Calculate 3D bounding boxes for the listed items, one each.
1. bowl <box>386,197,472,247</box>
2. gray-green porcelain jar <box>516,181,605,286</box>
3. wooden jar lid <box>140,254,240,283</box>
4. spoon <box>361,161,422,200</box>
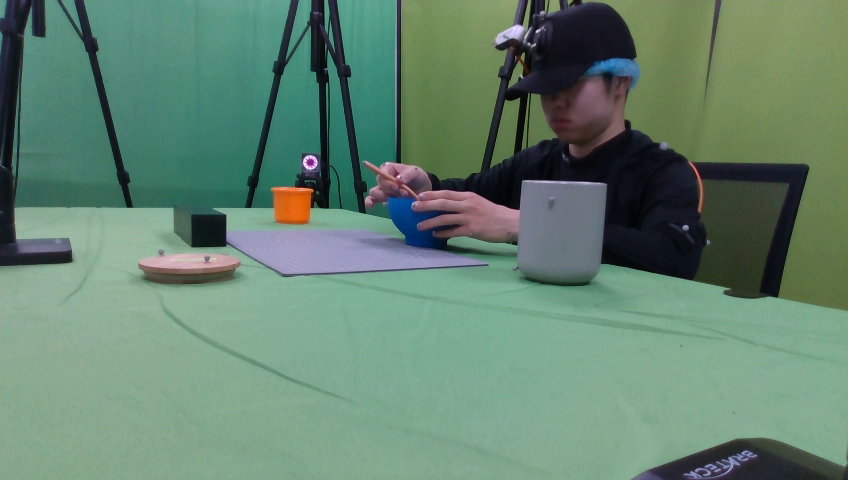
[{"bbox_3d":[0.005,-0.031,1.046,0.151,0.077,0.151,5,4,0],"label":"bowl"},{"bbox_3d":[0.172,-0.010,0.768,0.106,0.126,0.106,2,7,0],"label":"gray-green porcelain jar"},{"bbox_3d":[-0.269,0.032,0.698,0.108,0.020,0.108,2,5,0],"label":"wooden jar lid"},{"bbox_3d":[-0.028,-0.083,1.054,0.194,0.021,0.041,38,18,-1],"label":"spoon"}]
